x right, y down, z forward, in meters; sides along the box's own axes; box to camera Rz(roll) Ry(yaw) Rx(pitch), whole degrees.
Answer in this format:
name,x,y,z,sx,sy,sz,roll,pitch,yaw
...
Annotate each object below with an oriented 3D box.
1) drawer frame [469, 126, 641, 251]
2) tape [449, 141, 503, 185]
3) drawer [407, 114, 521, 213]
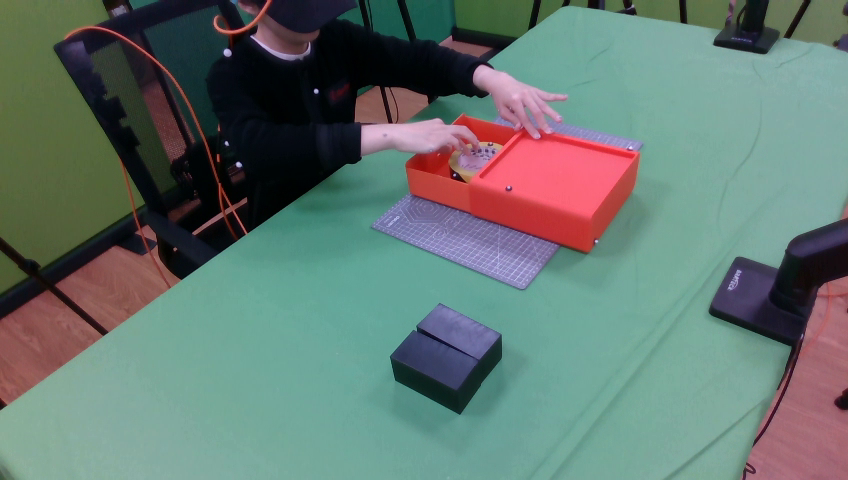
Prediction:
name,x,y,z,sx,sy,sz,roll,pitch,yaw
drawer frame,0.216,-0.094,1.003,0.212,0.083,0.202,20,47,28
tape,0.104,-0.123,1.068,0.117,0.053,0.116,-5,41,5
drawer,0.111,-0.130,1.067,0.210,0.073,0.195,21,47,29
